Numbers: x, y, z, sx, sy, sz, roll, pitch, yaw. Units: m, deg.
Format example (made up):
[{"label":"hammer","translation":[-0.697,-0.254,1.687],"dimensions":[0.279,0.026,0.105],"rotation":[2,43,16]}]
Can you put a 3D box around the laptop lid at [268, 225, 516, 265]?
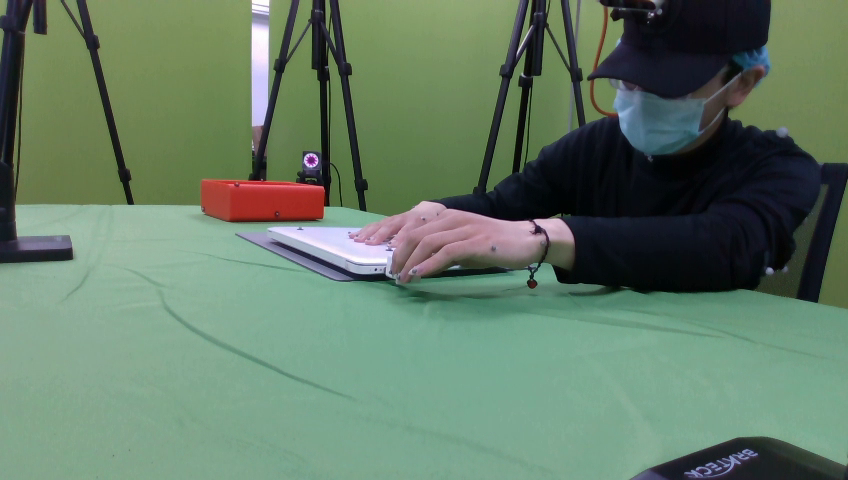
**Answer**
[{"label":"laptop lid","translation":[-0.063,0.003,0.877],"dimensions":[0.243,0.013,0.355],"rotation":[1,7,-30]}]

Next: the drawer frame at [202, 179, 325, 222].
[{"label":"drawer frame","translation":[-0.361,-0.092,1.356],"dimensions":[0.215,0.082,0.200],"rotation":[-4,10,-37]}]

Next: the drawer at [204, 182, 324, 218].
[{"label":"drawer","translation":[-0.360,-0.092,1.358],"dimensions":[0.213,0.073,0.193],"rotation":[-3,10,-36]}]

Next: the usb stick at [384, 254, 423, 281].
[{"label":"usb stick","translation":[-0.025,0.029,0.666],"dimensions":[0.021,0.027,0.059],"rotation":[3,-1,-33]}]

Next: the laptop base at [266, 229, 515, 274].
[{"label":"laptop base","translation":[-0.066,0.014,0.877],"dimensions":[0.237,0.023,0.352],"rotation":[2,6,-32]}]
